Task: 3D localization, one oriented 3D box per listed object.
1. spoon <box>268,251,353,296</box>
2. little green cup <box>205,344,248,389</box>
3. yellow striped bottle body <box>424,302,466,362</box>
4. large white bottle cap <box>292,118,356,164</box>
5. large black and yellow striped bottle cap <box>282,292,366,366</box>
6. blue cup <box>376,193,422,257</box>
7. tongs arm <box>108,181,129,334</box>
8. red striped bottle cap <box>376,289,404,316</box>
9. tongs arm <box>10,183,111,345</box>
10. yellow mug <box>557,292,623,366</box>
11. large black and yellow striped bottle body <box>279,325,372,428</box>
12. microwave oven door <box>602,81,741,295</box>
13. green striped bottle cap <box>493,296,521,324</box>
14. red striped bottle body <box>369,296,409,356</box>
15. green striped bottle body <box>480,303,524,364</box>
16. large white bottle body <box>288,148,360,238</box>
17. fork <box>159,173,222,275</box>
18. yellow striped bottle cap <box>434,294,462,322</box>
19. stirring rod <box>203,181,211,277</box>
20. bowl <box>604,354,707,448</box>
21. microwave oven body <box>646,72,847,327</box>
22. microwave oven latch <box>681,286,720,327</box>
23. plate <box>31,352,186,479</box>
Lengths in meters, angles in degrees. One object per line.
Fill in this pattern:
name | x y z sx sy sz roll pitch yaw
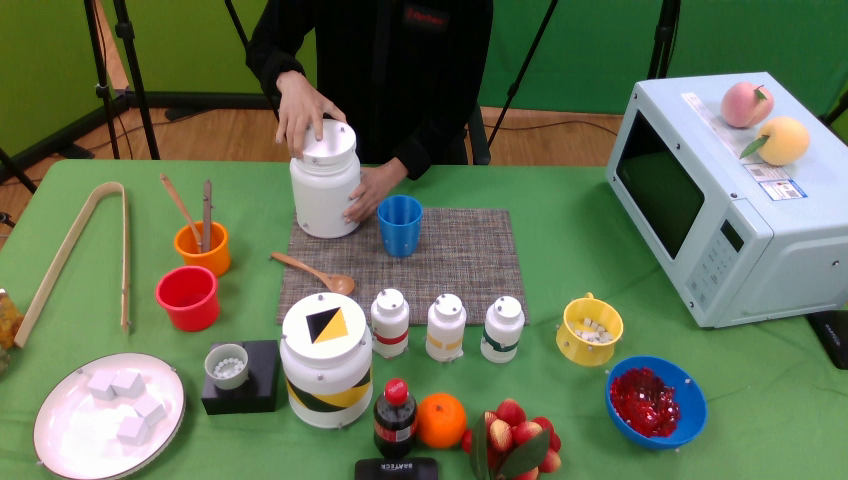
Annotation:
spoon | -0.212 0.057 1.121 0.193 0.022 0.041 24 74 18
little green cup | -0.294 0.191 0.909 0.061 0.039 0.061 1 47 -1
yellow striped bottle body | 0.035 0.143 0.995 0.063 0.121 0.062 3 46 -3
large white bottle cap | -0.181 -0.180 1.092 0.115 0.018 0.114 3 47 -3
large black and yellow striped bottle cap | -0.138 0.121 0.841 0.115 0.019 0.114 3 47 -3
blue cup | -0.047 -0.022 1.155 0.093 0.101 0.092 1 46 -1
tongs arm | -0.571 0.019 1.123 0.051 0.026 0.382 -10 47 -12
red striped bottle cap | -0.055 0.098 0.958 0.044 0.018 0.044 0 48 0
tongs arm | -0.658 0.027 1.109 0.028 0.028 0.385 -2 45 2
yellow mug | 0.285 0.145 1.051 0.100 0.064 0.130 7 46 4
large black and yellow striped bottle body | -0.143 0.181 0.900 0.131 0.185 0.130 2 46 -2
microwave oven door | 0.456 -0.107 1.162 0.039 0.245 0.353 -7 47 -11
green striped bottle cap | 0.133 0.111 0.962 0.044 0.020 0.044 2 47 -2
red striped bottle body | -0.059 0.134 0.997 0.063 0.120 0.062 5 48 -5
green striped bottle body | 0.129 0.147 1.000 0.063 0.120 0.063 2 46 -2
large white bottle body | -0.191 -0.108 1.168 0.131 0.185 0.130 2 46 -2
fork | -0.427 -0.029 1.103 0.028 0.018 0.207 -31 99 -30
yellow striped bottle cap | 0.038 0.107 0.958 0.044 0.019 0.044 2 45 -2
stirring rod | -0.396 -0.021 1.108 0.014 0.006 0.176 -1 89 -1
bowl | 0.346 0.261 0.937 0.151 0.077 0.150 2 46 -2
microwave oven body | 0.607 -0.089 1.164 0.326 0.261 0.438 -7 46 -10
microwave oven latch | 0.494 0.119 1.087 0.030 0.029 0.078 -5 46 -9
plate | -0.459 0.262 0.898 0.209 0.038 0.208 2 46 -2
